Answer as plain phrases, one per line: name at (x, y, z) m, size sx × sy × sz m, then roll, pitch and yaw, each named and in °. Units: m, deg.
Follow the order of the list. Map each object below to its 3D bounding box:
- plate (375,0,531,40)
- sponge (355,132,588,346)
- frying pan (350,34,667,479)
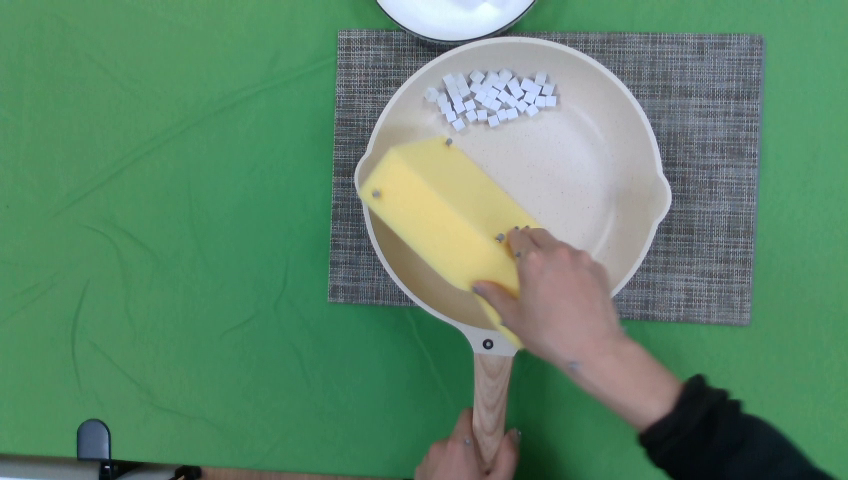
plate at (0.033, -0.313, 0.641) m, size 0.207 × 0.039 × 0.207 m, roll 0°, pitch 91°, yaw 5°
sponge at (0.050, -0.009, 0.582) m, size 0.206 × 0.118 × 0.061 m, roll 42°, pitch 119°, yaw 6°
frying pan at (0.071, 0.048, 0.605) m, size 0.306 × 0.103 × 0.486 m, roll 5°, pitch 83°, yaw 6°
